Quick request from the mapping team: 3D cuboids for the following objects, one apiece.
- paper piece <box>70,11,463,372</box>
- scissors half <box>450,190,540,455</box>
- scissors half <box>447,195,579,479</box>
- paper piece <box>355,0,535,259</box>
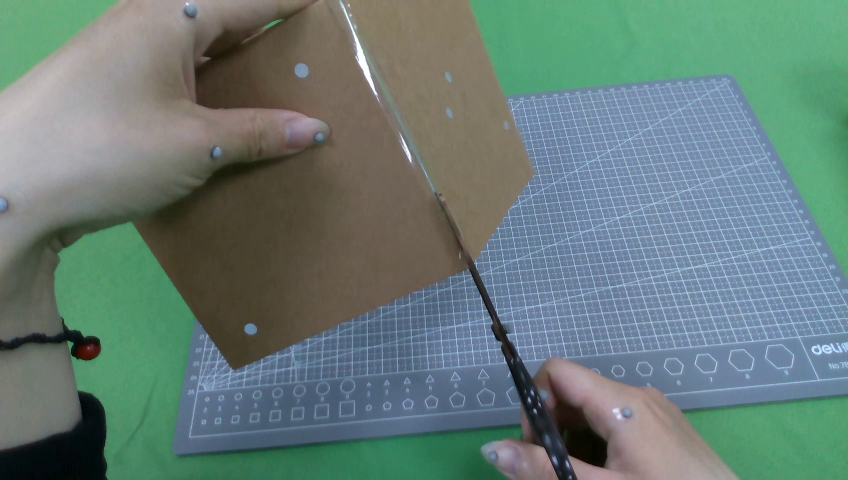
[{"bbox_3d":[-0.071,-0.014,0.287,0.138,0.137,0.008,-23,16,8],"label":"paper piece"},{"bbox_3d":[0.043,0.052,0.309,0.013,0.176,0.039,-21,26,3],"label":"scissors half"},{"bbox_3d":[0.044,0.057,0.287,0.013,0.040,0.175,-22,87,-2],"label":"scissors half"},{"bbox_3d":[0.023,-0.075,0.325,0.004,0.136,0.135,-16,17,30],"label":"paper piece"}]
